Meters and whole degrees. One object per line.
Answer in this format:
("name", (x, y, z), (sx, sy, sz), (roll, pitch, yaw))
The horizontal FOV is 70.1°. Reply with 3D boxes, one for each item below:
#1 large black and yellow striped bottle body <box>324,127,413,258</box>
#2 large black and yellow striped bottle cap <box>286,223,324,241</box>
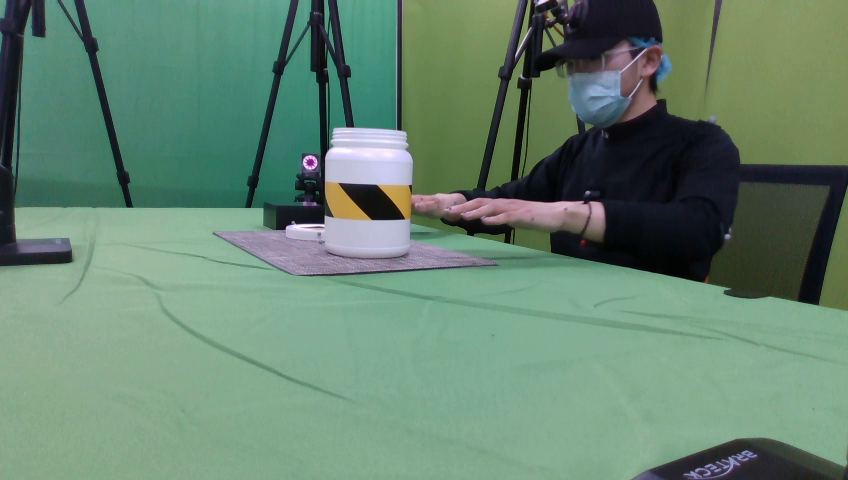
("large black and yellow striped bottle body", (-0.083, -0.073, 0.899), (0.131, 0.184, 0.130), (2, 8, 0))
("large black and yellow striped bottle cap", (-0.187, -0.015, 1.077), (0.115, 0.019, 0.115), (2, 9, 0))
